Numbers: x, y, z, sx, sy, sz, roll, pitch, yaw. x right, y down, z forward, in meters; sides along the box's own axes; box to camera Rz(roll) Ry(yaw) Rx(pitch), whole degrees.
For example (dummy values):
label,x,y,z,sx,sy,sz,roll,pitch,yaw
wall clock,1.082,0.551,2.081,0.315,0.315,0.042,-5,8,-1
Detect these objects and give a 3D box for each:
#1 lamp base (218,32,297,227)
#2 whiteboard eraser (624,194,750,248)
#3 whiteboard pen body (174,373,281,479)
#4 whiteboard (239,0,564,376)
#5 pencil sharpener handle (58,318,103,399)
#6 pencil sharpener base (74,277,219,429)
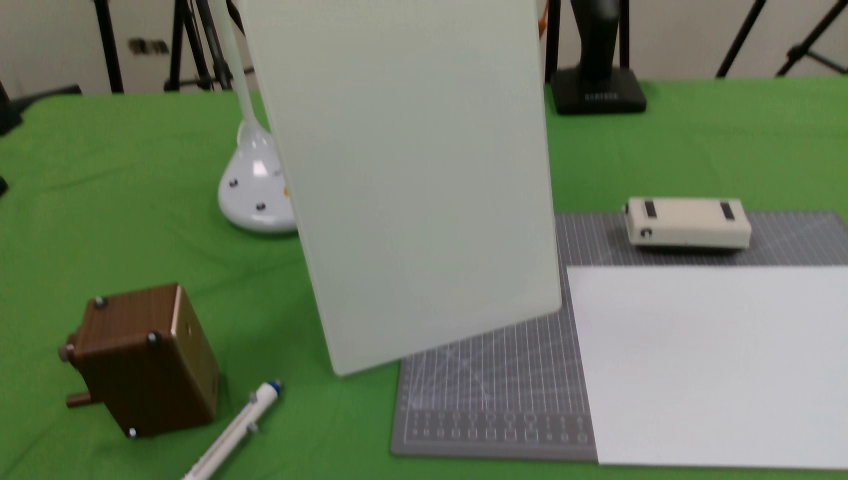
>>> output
label,x,y,z,sx,sy,sz,roll,pitch,yaw
lamp base,-0.176,-0.131,0.679,0.160,0.182,0.177,-34,46,-31
whiteboard eraser,0.263,-0.019,0.613,0.112,0.042,0.055,2,42,7
whiteboard pen body,-0.157,0.156,0.463,0.017,0.017,0.140,16,42,22
whiteboard,-0.015,-0.072,0.543,0.217,0.307,0.142,-14,22,-11
pencil sharpener handle,-0.264,0.092,0.458,0.031,0.068,0.035,-11,29,-7
pencil sharpener base,-0.214,0.091,0.476,0.077,0.108,0.060,-11,41,-7
